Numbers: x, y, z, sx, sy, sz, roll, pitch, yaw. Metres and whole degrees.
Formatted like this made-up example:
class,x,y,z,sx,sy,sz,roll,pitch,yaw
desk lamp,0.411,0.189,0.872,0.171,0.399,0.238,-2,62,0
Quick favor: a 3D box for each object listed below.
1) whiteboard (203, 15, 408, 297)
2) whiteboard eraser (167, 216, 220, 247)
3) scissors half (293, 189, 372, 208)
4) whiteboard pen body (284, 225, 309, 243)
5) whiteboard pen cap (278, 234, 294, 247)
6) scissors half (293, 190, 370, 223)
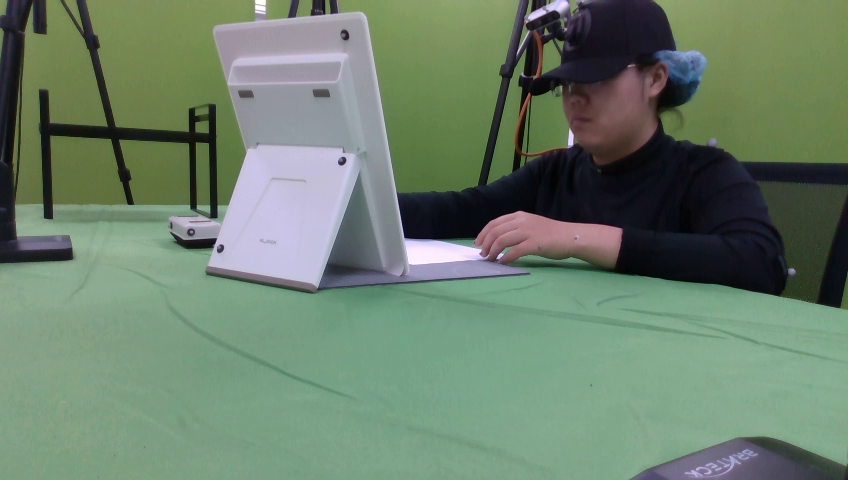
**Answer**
class,x,y,z,sx,sy,sz,roll,pitch,yaw
whiteboard,-0.166,-0.072,0.669,0.216,0.305,0.144,8,30,30
whiteboard eraser,-0.350,-0.013,0.920,0.056,0.042,0.112,0,7,-35
scissors half,-0.201,-0.096,1.332,0.175,0.040,0.013,5,19,-4
whiteboard pen body,-0.208,-0.009,0.985,0.017,0.017,0.140,3,8,1
whiteboard pen cap,-0.211,0.001,0.927,0.018,0.018,0.033,3,8,4
scissors half,-0.205,-0.077,1.338,0.175,0.040,0.013,22,12,-8
